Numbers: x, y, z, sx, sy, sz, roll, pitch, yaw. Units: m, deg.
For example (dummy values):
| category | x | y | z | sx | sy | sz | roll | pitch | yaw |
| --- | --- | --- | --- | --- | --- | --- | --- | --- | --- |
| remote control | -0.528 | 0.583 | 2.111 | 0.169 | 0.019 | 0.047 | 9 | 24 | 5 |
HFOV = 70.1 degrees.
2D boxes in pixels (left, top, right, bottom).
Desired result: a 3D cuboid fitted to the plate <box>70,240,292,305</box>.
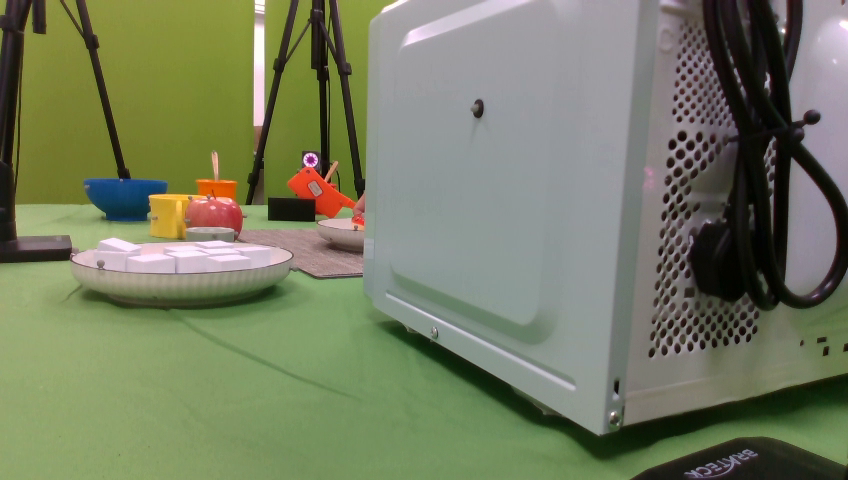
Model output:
| category | x | y | z | sx | sy | sz | roll | pitch | yaw |
| --- | --- | --- | --- | --- | --- | --- | --- | --- | --- |
| plate | -0.242 | 0.031 | 0.618 | 0.208 | 0.039 | 0.207 | 2 | 8 | 0 |

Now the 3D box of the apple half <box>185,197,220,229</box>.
| category | x | y | z | sx | sy | sz | roll | pitch | yaw |
| --- | --- | --- | --- | --- | --- | --- | --- | --- | --- |
| apple half | -0.338 | -0.031 | 0.927 | 0.032 | 0.081 | 0.081 | 12 | 12 | 31 |

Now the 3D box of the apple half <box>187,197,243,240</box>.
| category | x | y | z | sx | sy | sz | roll | pitch | yaw |
| --- | --- | --- | --- | --- | --- | --- | --- | --- | --- |
| apple half | -0.305 | -0.026 | 0.907 | 0.053 | 0.074 | 0.081 | 12 | 8 | 31 |

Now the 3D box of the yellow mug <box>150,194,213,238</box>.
| category | x | y | z | sx | sy | sz | roll | pitch | yaw |
| --- | --- | --- | --- | --- | --- | --- | --- | --- | --- |
| yellow mug | -0.401 | -0.040 | 1.003 | 0.100 | 0.064 | 0.130 | -1 | 9 | -20 |

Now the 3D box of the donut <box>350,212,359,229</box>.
| category | x | y | z | sx | sy | sz | roll | pitch | yaw |
| --- | --- | --- | --- | --- | --- | --- | --- | --- | --- |
| donut | -0.070 | -0.022 | 0.963 | 0.099 | 0.048 | 0.099 | 4 | 6 | 0 |

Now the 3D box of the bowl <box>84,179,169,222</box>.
| category | x | y | z | sx | sy | sz | roll | pitch | yaw |
| --- | --- | --- | --- | --- | --- | --- | --- | --- | --- |
| bowl | -0.584 | -0.078 | 1.194 | 0.151 | 0.077 | 0.151 | 3 | 8 | 0 |

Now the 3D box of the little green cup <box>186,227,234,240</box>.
| category | x | y | z | sx | sy | sz | roll | pitch | yaw |
| --- | --- | --- | --- | --- | --- | --- | --- | --- | --- |
| little green cup | -0.285 | 0.005 | 0.805 | 0.061 | 0.038 | 0.061 | 2 | 8 | 0 |

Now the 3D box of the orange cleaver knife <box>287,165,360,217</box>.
| category | x | y | z | sx | sy | sz | roll | pitch | yaw |
| --- | --- | --- | --- | --- | --- | --- | --- | --- | --- |
| orange cleaver knife | -0.211 | -0.093 | 1.382 | 0.212 | 0.077 | 0.012 | 33 | 1 | -15 |

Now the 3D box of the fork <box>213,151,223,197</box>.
| category | x | y | z | sx | sy | sz | roll | pitch | yaw |
| --- | --- | --- | --- | --- | --- | --- | --- | --- | --- |
| fork | -0.494 | -0.143 | 1.442 | 0.028 | 0.018 | 0.206 | -2 | 52 | -20 |

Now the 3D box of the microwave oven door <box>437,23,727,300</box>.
| category | x | y | z | sx | sy | sz | roll | pitch | yaw |
| --- | --- | --- | --- | --- | --- | --- | --- | --- | --- |
| microwave oven door | 0.180 | -0.073 | 0.621 | 0.358 | 0.243 | 0.039 | -2 | 8 | -29 |

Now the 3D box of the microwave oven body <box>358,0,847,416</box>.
| category | x | y | z | sx | sy | sz | roll | pitch | yaw |
| --- | --- | --- | --- | --- | --- | --- | --- | --- | --- |
| microwave oven body | 0.211 | -0.047 | 0.475 | 0.444 | 0.260 | 0.324 | -1 | 7 | -28 |

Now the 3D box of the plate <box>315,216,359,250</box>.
| category | x | y | z | sx | sy | sz | roll | pitch | yaw |
| --- | --- | --- | --- | --- | --- | --- | --- | --- | --- |
| plate | -0.068 | -0.010 | 0.963 | 0.209 | 0.038 | 0.209 | 3 | 8 | 0 |

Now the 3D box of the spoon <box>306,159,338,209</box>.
| category | x | y | z | sx | sy | sz | roll | pitch | yaw |
| --- | --- | --- | --- | --- | --- | --- | --- | --- | --- |
| spoon | -0.257 | -0.147 | 1.567 | 0.041 | 0.022 | 0.193 | 2 | 51 | 20 |

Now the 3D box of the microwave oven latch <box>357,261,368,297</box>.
| category | x | y | z | sx | sy | sz | roll | pitch | yaw |
| --- | --- | --- | --- | --- | --- | --- | --- | --- | --- |
| microwave oven latch | -0.019 | 0.033 | 0.531 | 0.079 | 0.029 | 0.030 | -1 | 7 | -27 |
